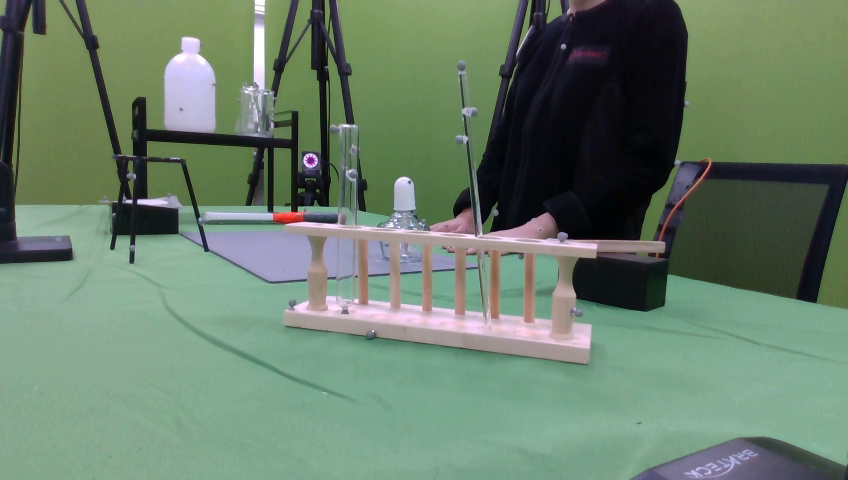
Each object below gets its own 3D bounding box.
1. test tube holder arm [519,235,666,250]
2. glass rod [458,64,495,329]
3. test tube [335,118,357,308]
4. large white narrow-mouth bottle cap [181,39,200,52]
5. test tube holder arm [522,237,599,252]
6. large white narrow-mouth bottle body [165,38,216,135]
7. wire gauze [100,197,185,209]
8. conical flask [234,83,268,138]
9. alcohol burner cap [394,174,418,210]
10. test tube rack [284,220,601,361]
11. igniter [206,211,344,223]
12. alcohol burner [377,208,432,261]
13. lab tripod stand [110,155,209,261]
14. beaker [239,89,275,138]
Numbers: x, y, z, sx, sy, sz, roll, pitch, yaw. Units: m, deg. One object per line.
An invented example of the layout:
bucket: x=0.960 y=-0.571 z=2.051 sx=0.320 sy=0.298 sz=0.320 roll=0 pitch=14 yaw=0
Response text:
test tube holder arm: x=0.186 y=0.003 z=0.656 sx=0.179 sy=0.015 sz=0.013 roll=-1 pitch=16 yaw=-19
glass rod: x=0.040 y=-0.029 z=0.449 sx=0.008 sy=0.199 sz=0.008 roll=-7 pitch=9 yaw=1
test tube: x=-0.061 y=-0.019 z=0.476 sx=0.017 sy=0.150 sz=0.017 roll=2 pitch=10 yaw=0
large white narrow-mouth bottle cap: x=-0.488 y=-0.406 z=1.266 sx=0.038 sy=0.024 sz=0.037 roll=2 pitch=7 yaw=0
test tube holder arm: x=0.144 y=0.005 z=0.636 sx=0.088 sy=0.015 sz=0.010 roll=-1 pitch=16 yaw=-19
large white narrow-mouth bottle body: x=-0.491 y=-0.322 z=1.275 sx=0.102 sy=0.194 sz=0.102 roll=2 pitch=7 yaw=0
wire gauze: x=-0.469 y=-0.062 z=1.008 sx=0.126 sy=0.011 sz=0.121 roll=-2 pitch=8 yaw=-25
conical flask: x=-0.399 y=-0.298 z=1.395 sx=0.075 sy=0.122 sz=0.075 roll=2 pitch=8 yaw=0
alcohol burner cap: x=-0.026 y=-0.067 z=0.834 sx=0.034 sy=0.048 sz=0.034 roll=-1 pitch=12 yaw=1
test tube rack: x=0.013 y=0.032 z=0.482 sx=0.242 sy=0.085 sz=0.067 roll=4 pitch=7 yaw=16
igniter: x=-0.302 y=-0.048 z=1.249 sx=0.278 sy=0.025 sz=0.057 roll=-2 pitch=-2 yaw=-27
alcohol burner: x=-0.027 y=-0.031 z=0.838 sx=0.078 sy=0.119 sz=0.078 roll=0 pitch=6 yaw=0
lab tripod stand: x=-0.361 y=-0.046 z=0.806 sx=0.148 sy=0.131 sz=0.148 roll=2 pitch=5 yaw=0
beaker: x=-0.361 y=-0.273 z=1.307 sx=0.074 sy=0.100 sz=0.084 roll=1 pitch=8 yaw=-11
